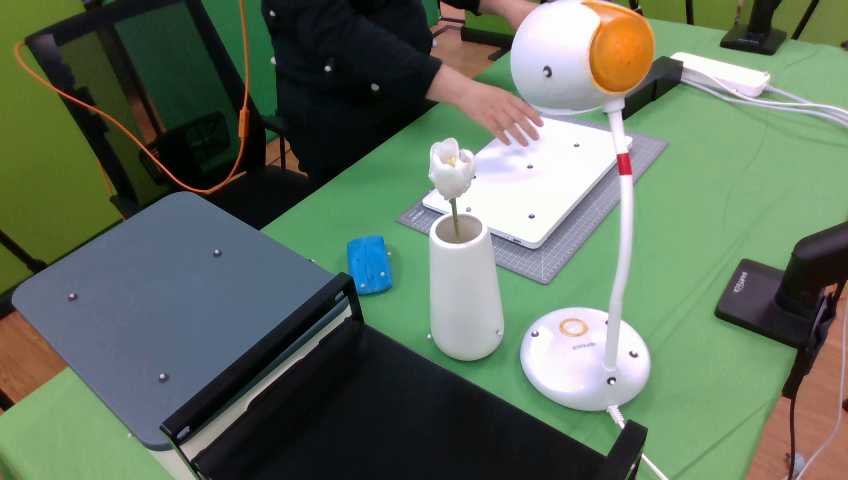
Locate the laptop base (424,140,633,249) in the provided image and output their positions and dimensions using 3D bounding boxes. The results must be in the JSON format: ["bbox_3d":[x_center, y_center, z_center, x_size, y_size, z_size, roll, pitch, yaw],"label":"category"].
[{"bbox_3d":[0.194,-0.117,1.087,0.233,0.023,0.355,21,47,34],"label":"laptop base"}]

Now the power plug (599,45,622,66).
[{"bbox_3d":[0.438,-0.422,1.411,0.053,0.035,0.072,-17,70,-47],"label":"power plug"}]

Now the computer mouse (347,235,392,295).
[{"bbox_3d":[-0.086,0.035,0.936,0.063,0.041,0.116,-8,44,-5],"label":"computer mouse"}]

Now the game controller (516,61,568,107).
[{"bbox_3d":[0.260,-0.352,1.336,0.097,0.052,0.154,-3,41,2],"label":"game controller"}]

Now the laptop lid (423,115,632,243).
[{"bbox_3d":[0.190,-0.126,1.081,0.239,0.013,0.358,23,48,34],"label":"laptop lid"}]

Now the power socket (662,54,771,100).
[{"bbox_3d":[0.615,-0.348,1.284,0.072,0.033,0.225,-36,48,-29],"label":"power socket"}]

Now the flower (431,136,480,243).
[{"bbox_3d":[0.041,0.011,0.691,0.044,0.363,0.038,16,62,14],"label":"flower"}]

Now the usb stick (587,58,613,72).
[{"bbox_3d":[0.401,-0.399,1.381,0.059,0.027,0.021,0,50,21],"label":"usb stick"}]

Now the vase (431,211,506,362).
[{"bbox_3d":[0.054,0.062,0.757,0.098,0.201,0.097,-3,40,3],"label":"vase"}]

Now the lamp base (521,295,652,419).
[{"bbox_3d":[0.201,0.095,0.710,0.161,0.181,0.177,-16,43,-10],"label":"lamp base"}]

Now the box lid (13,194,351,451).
[{"bbox_3d":[-0.292,0.067,0.717,0.368,0.015,0.264,25,50,33],"label":"box lid"}]

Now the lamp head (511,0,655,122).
[{"bbox_3d":[0.155,-0.168,0.564,0.113,0.113,0.122,-18,23,-12],"label":"lamp head"}]

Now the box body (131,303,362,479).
[{"bbox_3d":[-0.285,0.123,0.766,0.361,0.161,0.255,25,49,33],"label":"box body"}]
